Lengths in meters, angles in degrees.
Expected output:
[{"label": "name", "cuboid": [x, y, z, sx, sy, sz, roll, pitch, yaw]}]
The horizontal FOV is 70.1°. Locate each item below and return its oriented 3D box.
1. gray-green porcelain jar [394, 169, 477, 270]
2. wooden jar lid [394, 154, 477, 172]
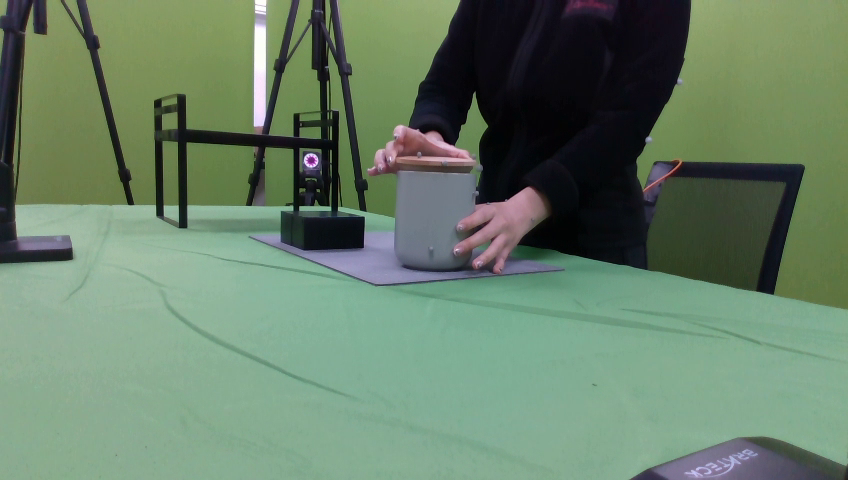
[{"label": "gray-green porcelain jar", "cuboid": [0.014, -0.029, 0.793, 0.106, 0.126, 0.106, 2, 7, 0]}, {"label": "wooden jar lid", "cuboid": [0.014, -0.099, 0.785, 0.108, 0.020, 0.108, 3, 12, 0]}]
